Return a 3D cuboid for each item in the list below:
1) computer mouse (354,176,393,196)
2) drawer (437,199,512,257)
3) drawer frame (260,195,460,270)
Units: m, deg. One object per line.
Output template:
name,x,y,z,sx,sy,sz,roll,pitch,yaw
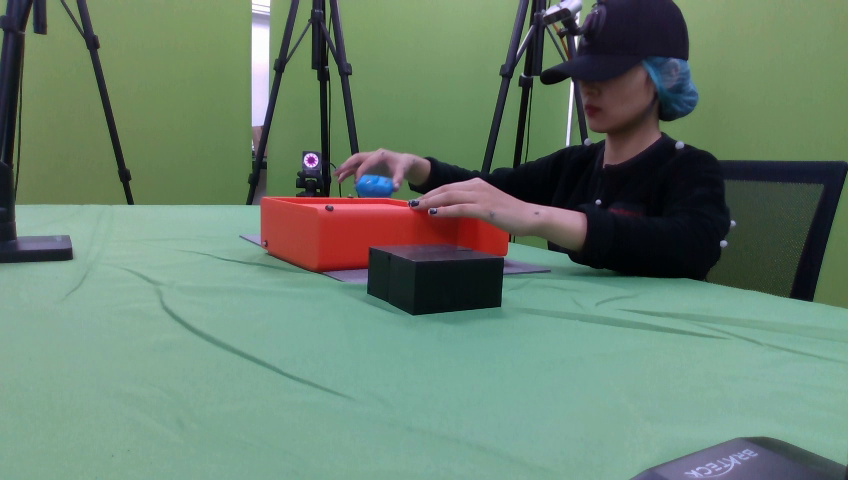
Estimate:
computer mouse,-0.089,-0.094,1.085,0.063,0.041,0.117,9,2,-1
drawer,-0.011,-0.020,0.900,0.213,0.073,0.193,-3,9,-34
drawer frame,-0.092,-0.018,0.846,0.215,0.082,0.200,-4,10,-35
